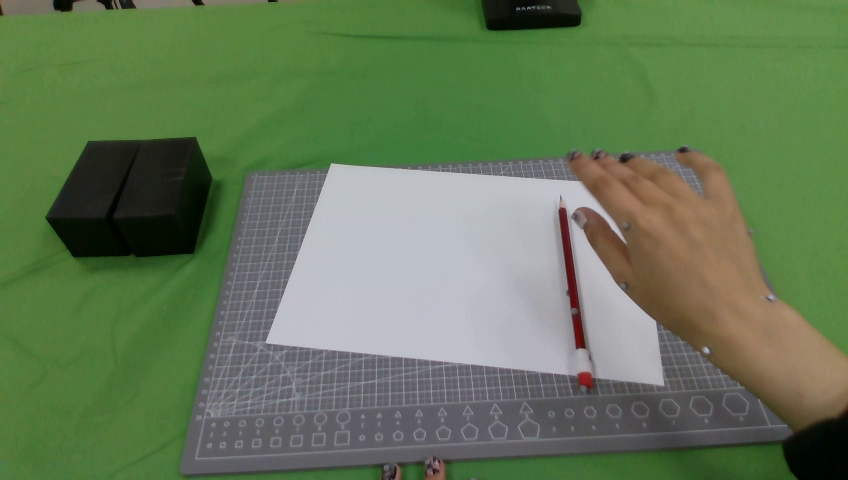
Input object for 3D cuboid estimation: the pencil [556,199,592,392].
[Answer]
[{"bbox_3d":[0.119,0.035,0.493,0.012,0.012,0.192,1,49,3],"label":"pencil"}]
